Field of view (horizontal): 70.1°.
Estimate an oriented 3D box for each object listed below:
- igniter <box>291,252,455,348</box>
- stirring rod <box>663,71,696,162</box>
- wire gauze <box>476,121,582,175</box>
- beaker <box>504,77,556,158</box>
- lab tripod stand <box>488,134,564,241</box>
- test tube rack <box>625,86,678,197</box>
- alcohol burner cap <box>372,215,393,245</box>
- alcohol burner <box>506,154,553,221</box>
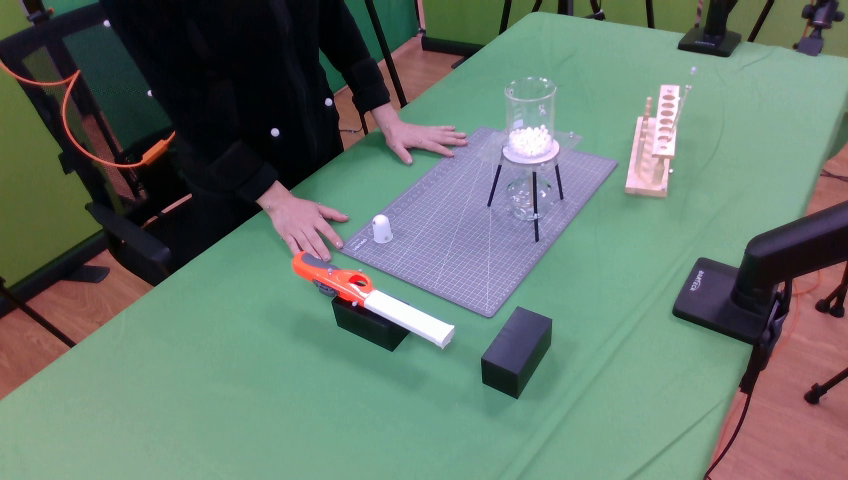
[{"bbox_3d":[-0.080,0.076,0.822,0.274,0.025,0.057,23,45,27],"label":"igniter"},{"bbox_3d":[0.411,-0.195,0.982,0.014,0.177,0.006,11,50,14],"label":"stirring rod"},{"bbox_3d":[0.162,-0.142,0.929,0.120,0.011,0.125,19,49,32],"label":"wire gauze"},{"bbox_3d":[0.160,-0.181,0.900,0.084,0.101,0.073,-32,46,-27],"label":"beaker"},{"bbox_3d":[0.168,-0.092,0.972,0.148,0.132,0.147,-5,41,5],"label":"lab tripod stand"},{"bbox_3d":[0.412,-0.184,1.088,0.066,0.085,0.242,9,43,18],"label":"test tube rack"},{"bbox_3d":[-0.070,-0.019,0.990,0.034,0.048,0.033,-4,41,4],"label":"alcohol burner cap"},{"bbox_3d":[0.171,-0.090,0.984,0.078,0.119,0.077,-5,42,5],"label":"alcohol burner"}]
